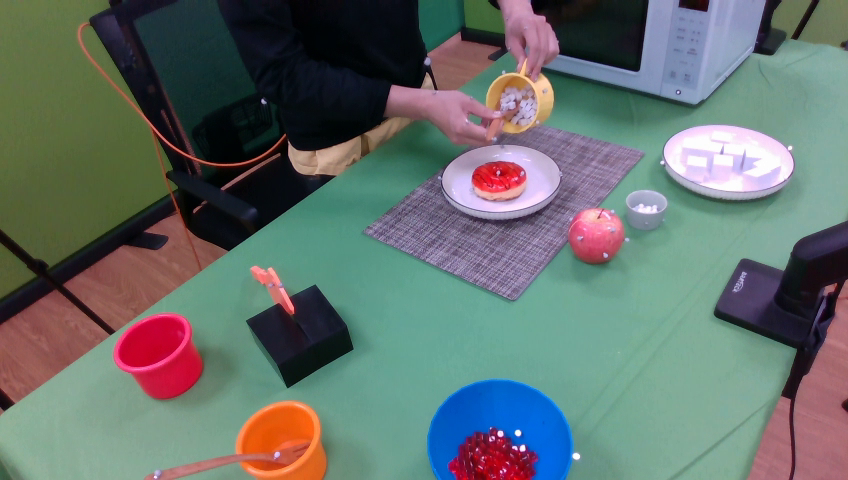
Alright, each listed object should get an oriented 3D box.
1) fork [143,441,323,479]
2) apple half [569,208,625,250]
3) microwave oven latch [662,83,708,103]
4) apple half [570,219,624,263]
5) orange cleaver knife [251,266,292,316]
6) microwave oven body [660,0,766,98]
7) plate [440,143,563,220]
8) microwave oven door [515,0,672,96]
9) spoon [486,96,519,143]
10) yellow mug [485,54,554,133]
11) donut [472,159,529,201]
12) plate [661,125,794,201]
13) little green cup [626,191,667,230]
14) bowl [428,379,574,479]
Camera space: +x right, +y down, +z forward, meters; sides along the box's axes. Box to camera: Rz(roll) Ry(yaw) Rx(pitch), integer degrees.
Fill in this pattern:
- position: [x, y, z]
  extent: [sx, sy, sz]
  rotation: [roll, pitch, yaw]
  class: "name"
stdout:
- position: [-0.189, 0.231, 0.631]
  extent: [0.028, 0.018, 0.209]
  rotation: [35, 13, 37]
  class: "fork"
- position: [0.262, -0.014, 0.913]
  extent: [0.080, 0.075, 0.053]
  rotation: [5, 37, 20]
  class: "apple half"
- position: [0.518, -0.296, 1.204]
  extent: [0.078, 0.029, 0.030]
  rotation: [28, 52, 35]
  class: "microwave oven latch"
- position: [0.250, 0.009, 0.885]
  extent: [0.081, 0.081, 0.033]
  rotation: [7, 39, 17]
  class: "apple half"
- position: [-0.221, 0.071, 0.873]
  extent: [0.012, 0.077, 0.210]
  rotation: [-25, 11, -21]
  class: "orange cleaver knife"
- position: [0.472, -0.513, 1.317]
  extent: [0.438, 0.261, 0.327]
  rotation: [26, 51, 34]
  class: "microwave oven body"
- position: [0.134, -0.098, 1.051]
  extent: [0.209, 0.038, 0.208]
  rotation: [-4, 40, 4]
  class: "plate"
- position: [0.343, -0.455, 1.259]
  extent: [0.353, 0.245, 0.039]
  rotation: [26, 51, 33]
  class: "microwave oven door"
- position: [0.124, -0.201, 0.995]
  extent: [0.041, 0.022, 0.194]
  rotation: [11, 31, 13]
  class: "spoon"
- position: [0.167, -0.253, 1.036]
  extent: [0.099, 0.131, 0.064]
  rotation: [24, 30, 23]
  class: "yellow mug"
- position: [0.132, -0.105, 1.043]
  extent: [0.099, 0.048, 0.098]
  rotation: [-5, 38, 4]
  class: "donut"
- position: [0.513, -0.128, 1.035]
  extent: [0.207, 0.039, 0.206]
  rotation: [-4, 40, 4]
  class: "plate"
- position: [0.352, -0.046, 0.963]
  extent: [0.061, 0.039, 0.061]
  rotation: [-4, 40, 4]
  class: "little green cup"
- position: [0.082, 0.233, 0.644]
  extent: [0.151, 0.077, 0.150]
  rotation: [-4, 40, 4]
  class: "bowl"
